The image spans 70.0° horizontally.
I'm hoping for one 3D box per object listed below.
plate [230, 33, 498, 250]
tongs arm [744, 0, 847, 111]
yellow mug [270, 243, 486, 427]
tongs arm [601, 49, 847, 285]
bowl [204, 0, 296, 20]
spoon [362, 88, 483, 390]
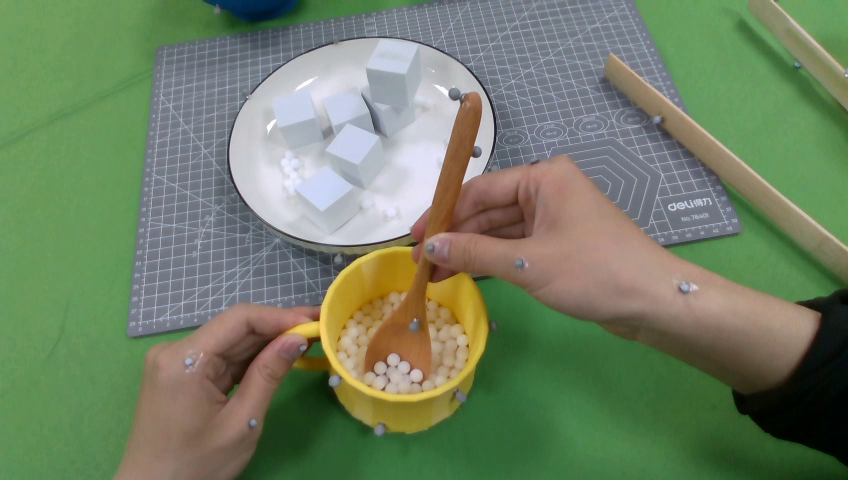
[{"bbox_3d":[-0.045,-0.079,0.481,0.207,0.039,0.206,-2,61,4],"label":"plate"},{"bbox_3d":[0.338,-0.056,0.441,0.051,0.027,0.381,-22,63,-8],"label":"tongs arm"},{"bbox_3d":[-0.030,0.061,0.378,0.131,0.064,0.099,-5,59,-7],"label":"yellow mug"},{"bbox_3d":[0.266,-0.020,0.429,0.028,0.028,0.384,-32,64,-17],"label":"tongs arm"},{"bbox_3d":[-0.165,-0.266,0.576,0.151,0.077,0.150,-2,60,4],"label":"bowl"},{"bbox_3d":[0.002,0.010,0.340,0.041,0.195,0.021,21,28,7],"label":"spoon"}]
